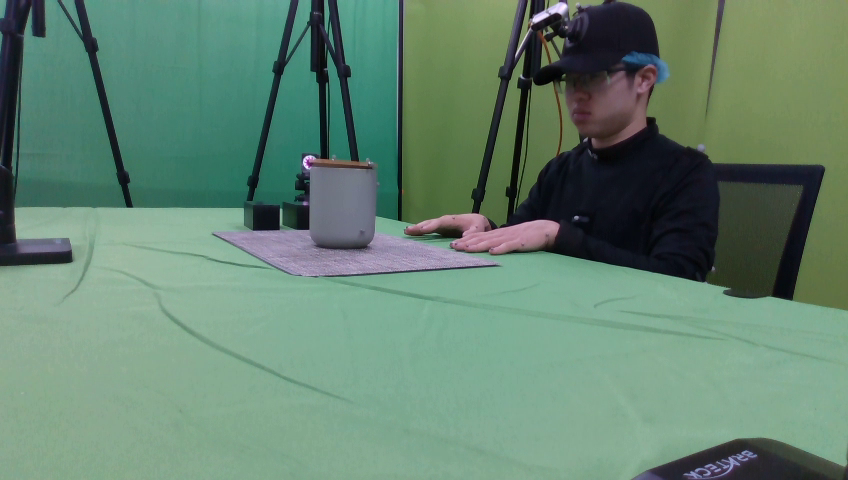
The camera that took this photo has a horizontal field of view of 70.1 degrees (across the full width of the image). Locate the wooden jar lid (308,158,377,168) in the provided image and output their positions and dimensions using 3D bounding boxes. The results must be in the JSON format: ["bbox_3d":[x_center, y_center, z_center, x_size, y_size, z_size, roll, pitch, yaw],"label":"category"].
[{"bbox_3d":[-0.128,-0.117,0.956,0.108,0.020,0.108,5,6,0],"label":"wooden jar lid"}]

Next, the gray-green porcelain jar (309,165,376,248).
[{"bbox_3d":[-0.130,-0.054,0.966,0.106,0.126,0.106,2,7,0],"label":"gray-green porcelain jar"}]
